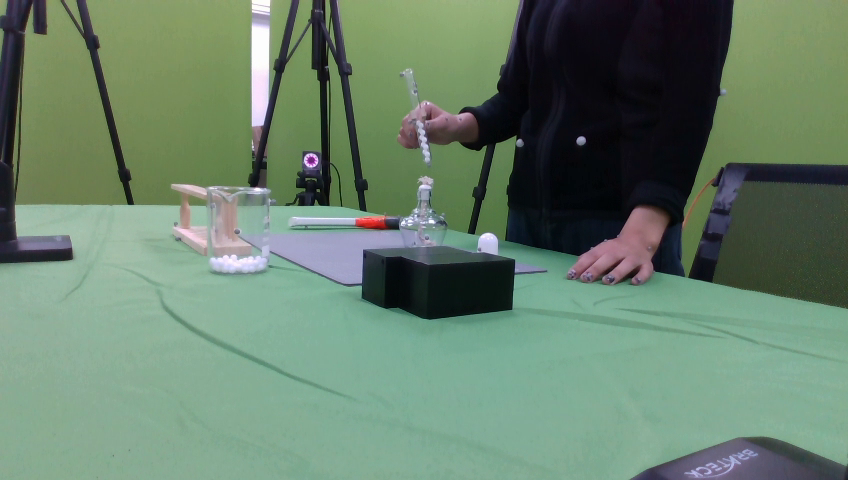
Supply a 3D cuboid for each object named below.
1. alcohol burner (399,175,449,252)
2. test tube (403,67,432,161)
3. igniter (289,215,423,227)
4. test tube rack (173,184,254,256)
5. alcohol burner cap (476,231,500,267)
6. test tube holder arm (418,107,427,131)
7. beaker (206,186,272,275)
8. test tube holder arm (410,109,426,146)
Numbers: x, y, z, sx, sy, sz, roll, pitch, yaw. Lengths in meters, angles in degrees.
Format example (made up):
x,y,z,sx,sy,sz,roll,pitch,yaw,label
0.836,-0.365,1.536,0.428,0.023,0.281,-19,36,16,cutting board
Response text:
x,y,z,sx,sy,sz,roll,pitch,yaw,label
0.000,-0.041,0.937,0.078,0.119,0.078,0,8,0,alcohol burner
-0.009,-0.194,0.934,0.017,0.150,0.017,-12,-6,-1,test tube
-0.133,-0.038,1.232,0.278,0.025,0.057,-1,-2,-25,igniter
-0.328,-0.036,0.927,0.067,0.085,0.241,-2,9,-32,test tube rack
0.088,0.012,0.830,0.034,0.048,0.034,2,6,0,alcohol burner cap
-0.004,-0.190,0.957,0.010,0.015,0.088,-9,-6,-5,test tube holder arm
-0.220,-0.012,0.717,0.074,0.100,0.084,2,8,-3,beaker
-0.009,-0.184,1.001,0.013,0.015,0.178,-9,-6,2,test tube holder arm
